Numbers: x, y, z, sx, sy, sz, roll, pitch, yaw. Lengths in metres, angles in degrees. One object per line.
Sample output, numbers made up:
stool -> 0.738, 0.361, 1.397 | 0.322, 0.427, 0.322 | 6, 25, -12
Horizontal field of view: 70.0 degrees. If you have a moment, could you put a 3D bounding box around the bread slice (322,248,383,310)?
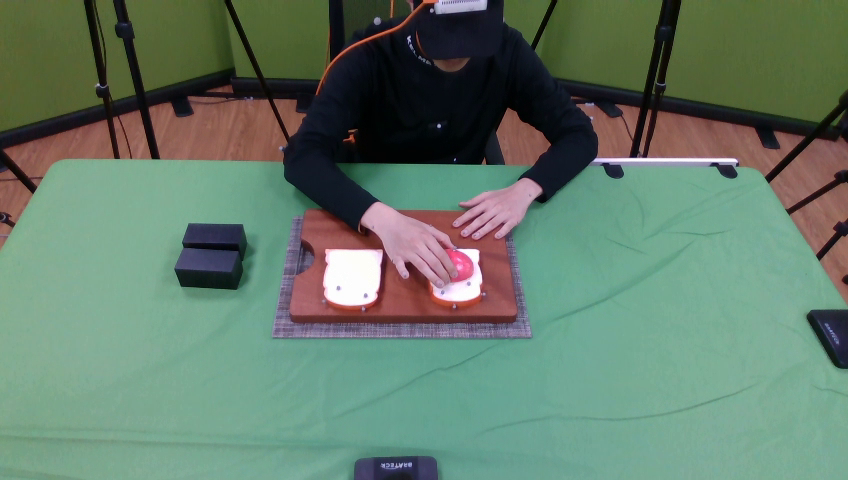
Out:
bread slice -> -0.126, 0.068, 1.083 | 0.107, 0.018, 0.133 | -1, 48, -4

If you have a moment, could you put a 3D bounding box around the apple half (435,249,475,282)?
apple half -> 0.055, 0.038, 1.091 | 0.081, 0.033, 0.081 | 0, 44, 0

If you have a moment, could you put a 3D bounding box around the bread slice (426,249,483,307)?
bread slice -> 0.058, 0.066, 1.100 | 0.105, 0.019, 0.130 | -1, 45, -3
